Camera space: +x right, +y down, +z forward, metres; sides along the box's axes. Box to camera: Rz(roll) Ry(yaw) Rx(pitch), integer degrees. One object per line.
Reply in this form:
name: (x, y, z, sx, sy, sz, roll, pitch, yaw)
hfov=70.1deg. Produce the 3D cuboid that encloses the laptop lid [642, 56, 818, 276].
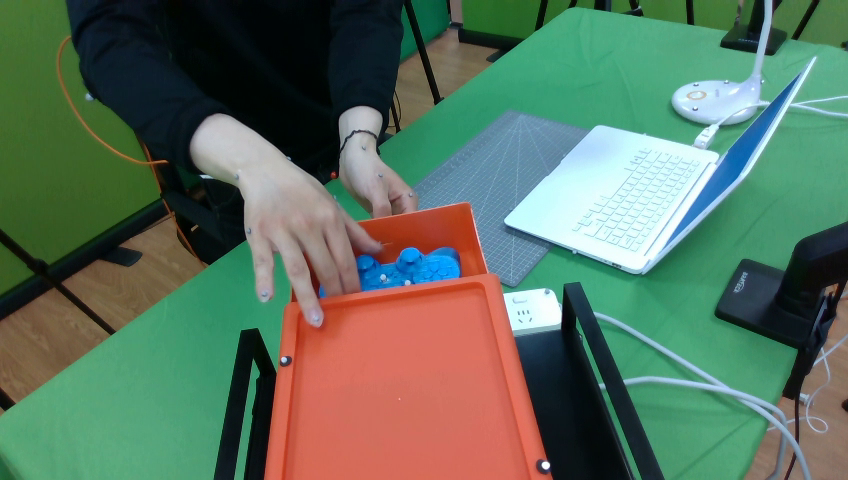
laptop lid: (0.445, -0.108, 0.876, 0.013, 0.241, 0.357, 39, 53, 12)

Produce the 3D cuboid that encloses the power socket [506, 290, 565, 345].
power socket: (0.081, 0.112, 0.822, 0.227, 0.033, 0.072, -6, 40, 0)

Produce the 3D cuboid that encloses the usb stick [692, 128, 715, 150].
usb stick: (0.501, -0.176, 1.091, 0.021, 0.027, 0.059, 29, 55, 29)

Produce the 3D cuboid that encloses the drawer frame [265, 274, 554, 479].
drawer frame: (-0.016, 0.135, 0.492, 0.202, 0.083, 0.212, -8, 41, -2)

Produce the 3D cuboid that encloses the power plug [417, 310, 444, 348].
power plug: (0.007, 0.123, 0.784, 0.035, 0.053, 0.072, -2, 43, 8)

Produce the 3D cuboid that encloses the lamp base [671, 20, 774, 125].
lamp base: (0.581, -0.332, 1.154, 0.179, 0.181, 0.160, 2, 41, 7)

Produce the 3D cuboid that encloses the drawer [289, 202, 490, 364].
drawer: (-0.030, 0.064, 0.580, 0.195, 0.073, 0.210, -8, 41, -3)

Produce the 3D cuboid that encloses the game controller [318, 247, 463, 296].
game controller: (-0.035, 0.042, 0.621, 0.155, 0.052, 0.096, -9, 45, -1)

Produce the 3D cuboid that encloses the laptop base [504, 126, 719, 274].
laptop base: (0.325, -0.083, 1.027, 0.233, 0.023, 0.355, 21, 48, 32)
